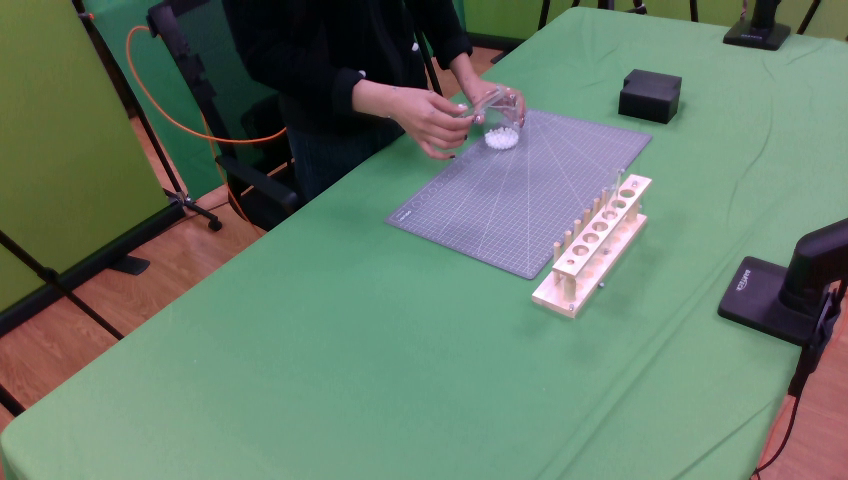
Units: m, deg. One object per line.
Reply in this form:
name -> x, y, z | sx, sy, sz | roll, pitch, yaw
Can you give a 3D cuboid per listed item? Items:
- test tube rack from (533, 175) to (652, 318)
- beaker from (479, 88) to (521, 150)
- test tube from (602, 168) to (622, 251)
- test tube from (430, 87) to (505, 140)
test tube rack -> 0.250, -0.001, 0.889 | 0.066, 0.085, 0.243 | 22, 49, 33
beaker -> 0.151, -0.229, 1.162 | 0.074, 0.101, 0.083 | -30, 45, -22
test tube -> 0.264, -0.039, 0.854 | 0.017, 0.151, 0.017 | -5, 44, 6
test tube -> 0.068, -0.205, 0.990 | 0.150, 0.017, 0.017 | -29, 31, 31
